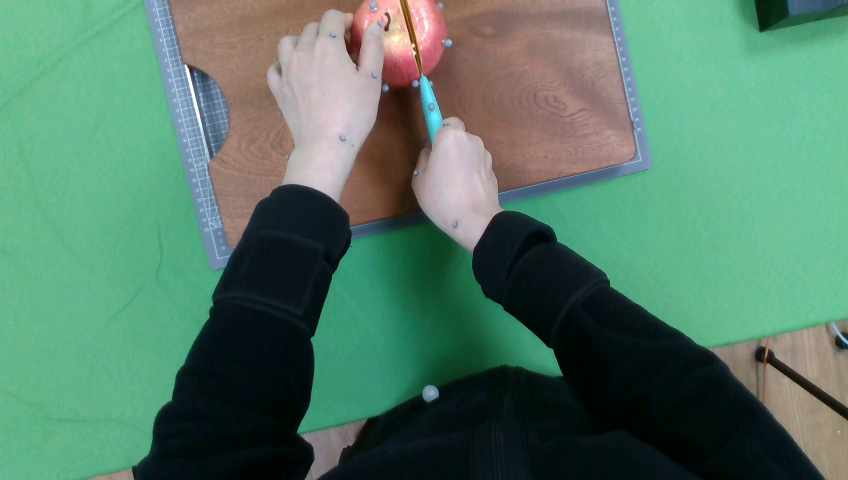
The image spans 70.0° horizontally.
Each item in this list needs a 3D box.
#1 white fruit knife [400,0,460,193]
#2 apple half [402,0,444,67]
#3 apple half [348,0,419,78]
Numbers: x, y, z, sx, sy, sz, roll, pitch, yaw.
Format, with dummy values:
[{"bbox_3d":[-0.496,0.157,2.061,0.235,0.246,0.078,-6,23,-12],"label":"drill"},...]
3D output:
[{"bbox_3d":[-0.002,-0.142,0.535,0.016,0.027,0.207,-17,95,-5],"label":"white fruit knife"},{"bbox_3d":[0.001,-0.192,0.533,0.033,0.081,0.081,-15,92,-1],"label":"apple half"},{"bbox_3d":[-0.038,-0.180,0.532,0.053,0.074,0.081,-16,95,5],"label":"apple half"}]
